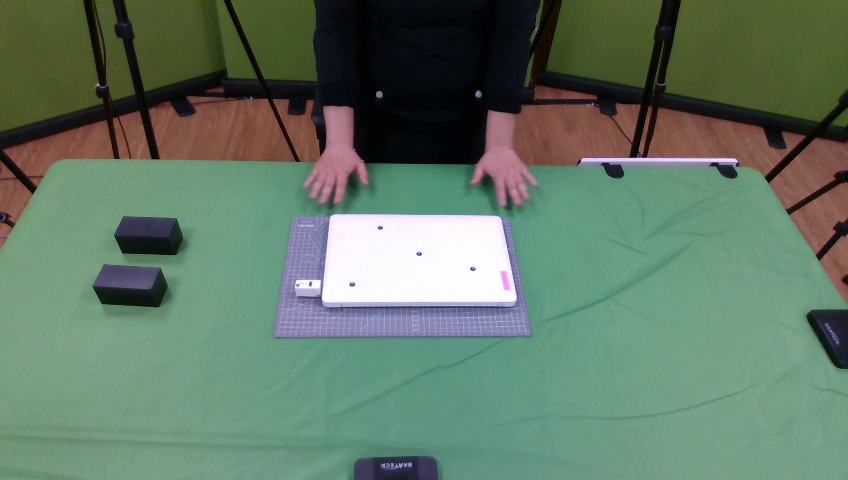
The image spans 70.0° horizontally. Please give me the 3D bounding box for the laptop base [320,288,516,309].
[{"bbox_3d":[-0.013,0.040,1.159,0.355,0.023,0.234,0,43,-4],"label":"laptop base"}]

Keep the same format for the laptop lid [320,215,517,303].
[{"bbox_3d":[-0.012,0.030,1.153,0.357,0.013,0.240,2,44,-3],"label":"laptop lid"}]

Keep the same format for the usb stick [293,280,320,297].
[{"bbox_3d":[-0.202,0.087,1.082,0.059,0.027,0.021,4,45,-4],"label":"usb stick"}]
